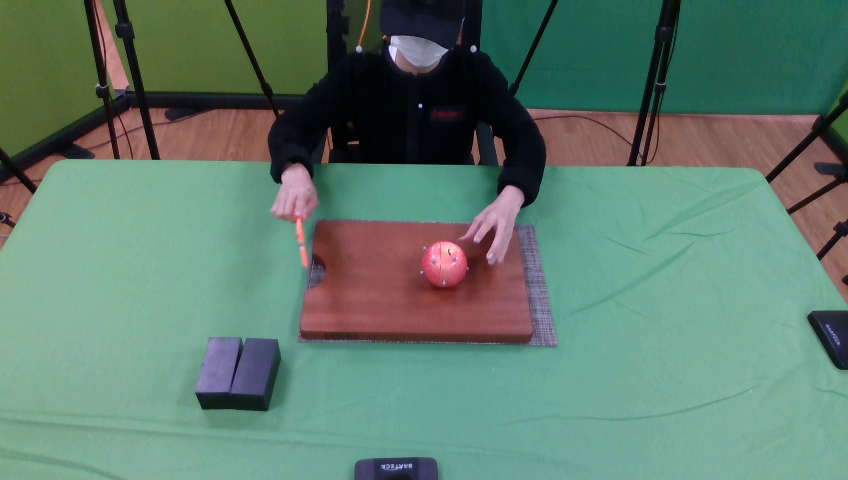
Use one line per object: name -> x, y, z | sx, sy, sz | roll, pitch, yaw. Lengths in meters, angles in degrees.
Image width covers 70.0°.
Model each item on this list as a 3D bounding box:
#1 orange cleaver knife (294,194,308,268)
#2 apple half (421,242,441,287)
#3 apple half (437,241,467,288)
orange cleaver knife -> -0.209, -0.020, 1.031 | 0.012, 0.077, 0.210 | -8, 24, -11
apple half -> 0.010, 0.045, 1.079 | 0.033, 0.081, 0.081 | 3, 45, -6
apple half -> 0.049, 0.046, 1.083 | 0.053, 0.075, 0.080 | 3, 42, -6
